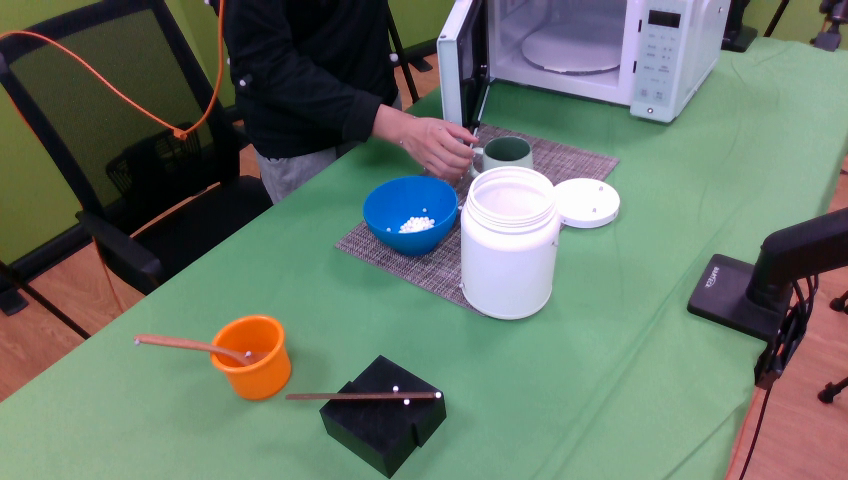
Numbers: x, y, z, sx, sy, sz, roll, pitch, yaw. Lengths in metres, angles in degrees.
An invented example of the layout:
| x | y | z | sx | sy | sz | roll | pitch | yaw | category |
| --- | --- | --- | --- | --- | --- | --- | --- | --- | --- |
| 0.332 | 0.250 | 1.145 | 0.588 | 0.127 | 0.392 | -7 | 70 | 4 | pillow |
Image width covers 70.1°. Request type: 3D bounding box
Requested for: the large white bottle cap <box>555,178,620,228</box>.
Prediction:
| x | y | z | sx | sy | sz | roll | pitch | yaw | category |
| --- | --- | --- | --- | --- | --- | --- | --- | --- | --- |
| 0.265 | -0.063 | 1.001 | 0.115 | 0.018 | 0.114 | -3 | 42 | 3 | large white bottle cap |

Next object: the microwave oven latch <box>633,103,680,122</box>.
| x | y | z | sx | sy | sz | roll | pitch | yaw | category |
| --- | --- | --- | --- | --- | --- | --- | --- | --- | --- |
| 0.443 | -0.249 | 1.157 | 0.078 | 0.029 | 0.030 | 20 | 48 | 30 | microwave oven latch |

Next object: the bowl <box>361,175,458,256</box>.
| x | y | z | sx | sy | sz | roll | pitch | yaw | category |
| --- | --- | --- | --- | --- | --- | --- | --- | --- | --- |
| -0.019 | -0.028 | 0.955 | 0.151 | 0.077 | 0.150 | -4 | 40 | 4 | bowl |

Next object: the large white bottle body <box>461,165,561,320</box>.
| x | y | z | sx | sy | sz | roll | pitch | yaw | category |
| --- | --- | --- | --- | --- | --- | --- | --- | --- | --- |
| 0.115 | 0.004 | 0.816 | 0.130 | 0.185 | 0.130 | -2 | 43 | 2 | large white bottle body |

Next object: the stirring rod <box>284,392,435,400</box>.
| x | y | z | sx | sy | sz | roll | pitch | yaw | category |
| --- | --- | --- | --- | --- | --- | --- | --- | --- | --- |
| -0.075 | 0.180 | 0.698 | 0.176 | 0.006 | 0.014 | -2 | 6 | 7 | stirring rod |

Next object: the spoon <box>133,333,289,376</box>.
| x | y | z | sx | sy | sz | roll | pitch | yaw | category |
| --- | --- | --- | --- | --- | --- | --- | --- | --- | --- |
| -0.257 | 0.137 | 0.747 | 0.021 | 0.195 | 0.041 | -46 | 40 | 23 | spoon |

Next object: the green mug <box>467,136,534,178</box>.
| x | y | z | sx | sy | sz | roll | pitch | yaw | category |
| --- | --- | --- | --- | --- | --- | --- | --- | --- | --- |
| 0.126 | -0.114 | 1.014 | 0.124 | 0.105 | 0.093 | 21 | 48 | 29 | green mug |

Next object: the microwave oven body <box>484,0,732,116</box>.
| x | y | z | sx | sy | sz | roll | pitch | yaw | category |
| --- | --- | --- | --- | --- | --- | --- | --- | --- | --- |
| 0.377 | -0.462 | 1.267 | 0.438 | 0.261 | 0.327 | 21 | 48 | 30 | microwave oven body |

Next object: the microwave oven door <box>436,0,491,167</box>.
| x | y | z | sx | sy | sz | roll | pitch | yaw | category |
| --- | --- | --- | --- | --- | --- | --- | --- | --- | --- |
| 0.083 | -0.339 | 1.159 | 0.039 | 0.245 | 0.355 | 4 | 42 | 13 | microwave oven door |
